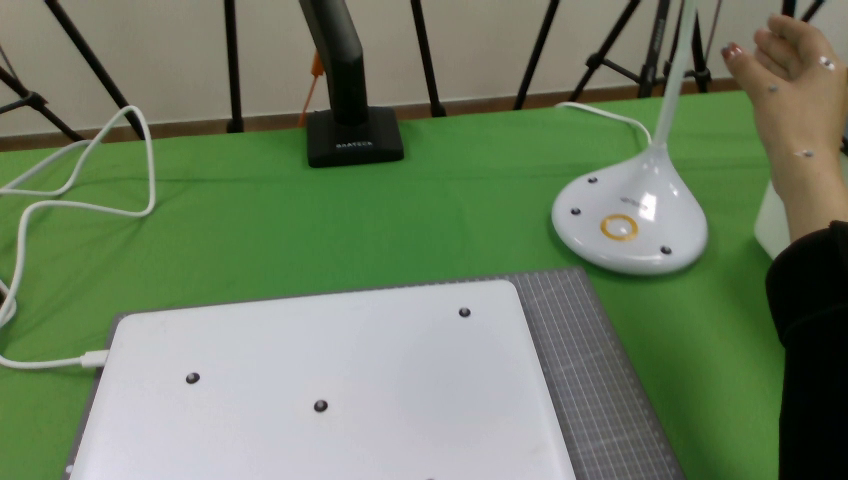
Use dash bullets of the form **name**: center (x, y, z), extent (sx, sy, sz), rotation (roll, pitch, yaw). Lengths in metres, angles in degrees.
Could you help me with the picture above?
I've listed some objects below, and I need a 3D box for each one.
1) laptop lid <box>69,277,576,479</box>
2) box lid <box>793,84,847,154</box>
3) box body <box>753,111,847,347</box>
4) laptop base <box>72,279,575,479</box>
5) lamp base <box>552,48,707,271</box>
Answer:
- **laptop lid**: center (-0.078, 0.127, 0.465), extent (0.357, 0.013, 0.239), rotation (-4, 43, -4)
- **box lid**: center (0.481, -0.029, 0.437), extent (0.264, 0.015, 0.367), rotation (-5, 42, -7)
- **box body**: center (0.482, 0.029, 0.485), extent (0.254, 0.162, 0.360), rotation (-6, 41, -7)
- **laptop base**: center (-0.078, 0.134, 0.475), extent (0.355, 0.023, 0.233), rotation (-5, 45, -5)
- **lamp base**: center (0.223, -0.089, 0.608), extent (0.160, 0.182, 0.178), rotation (18, 42, 20)
